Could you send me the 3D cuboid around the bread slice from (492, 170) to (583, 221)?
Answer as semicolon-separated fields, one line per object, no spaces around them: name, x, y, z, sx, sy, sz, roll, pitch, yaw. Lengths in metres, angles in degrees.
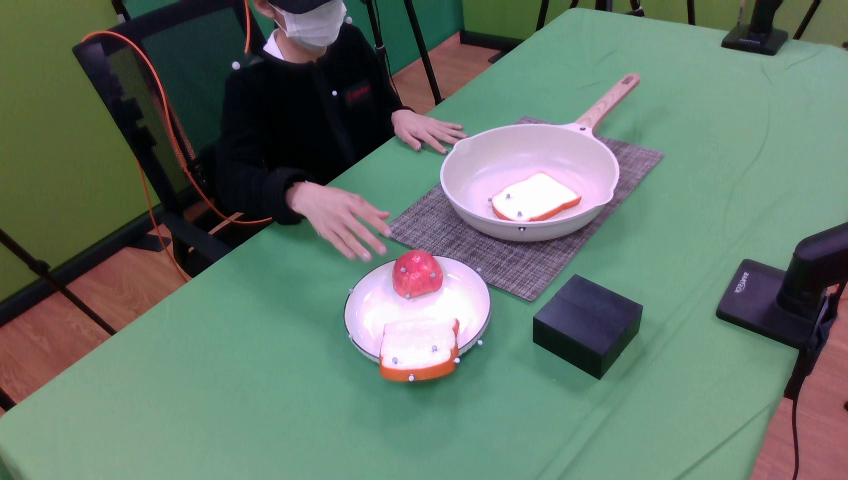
bread slice;0.183;-0.066;1.015;0.135;0.018;0.106;-28;43;-23

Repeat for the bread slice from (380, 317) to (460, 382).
bread slice;-0.005;0.137;0.770;0.105;0.019;0.131;-6;20;4

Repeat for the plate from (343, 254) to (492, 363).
plate;-0.008;0.101;0.847;0.207;0.039;0.206;-4;40;4

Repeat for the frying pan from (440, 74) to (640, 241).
frying pan;0.245;-0.161;1.058;0.304;0.103;0.489;30;61;35

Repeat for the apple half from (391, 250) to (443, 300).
apple half;-0.013;0.046;0.883;0.081;0.033;0.081;0;66;1
